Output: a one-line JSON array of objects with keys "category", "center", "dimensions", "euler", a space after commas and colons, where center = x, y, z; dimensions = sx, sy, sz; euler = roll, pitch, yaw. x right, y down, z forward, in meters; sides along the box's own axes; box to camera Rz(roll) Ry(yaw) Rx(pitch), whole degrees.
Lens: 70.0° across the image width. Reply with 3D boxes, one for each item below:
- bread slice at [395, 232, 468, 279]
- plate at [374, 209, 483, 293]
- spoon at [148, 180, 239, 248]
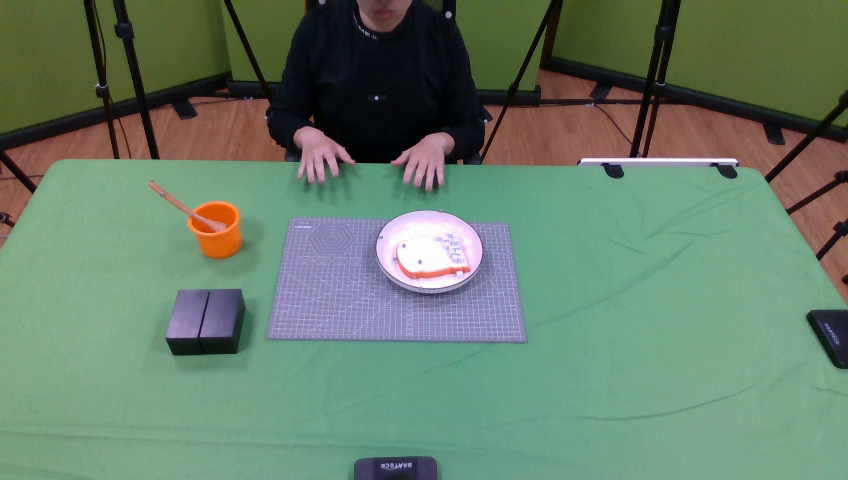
[{"category": "bread slice", "center": [0.011, 0.030, 1.158], "dimensions": [0.132, 0.019, 0.104], "euler": [-8, 47, -14]}, {"category": "plate", "center": [0.009, 0.024, 1.160], "dimensions": [0.209, 0.038, 0.208], "euler": [2, 46, -2]}, {"category": "spoon", "center": [-0.422, -0.047, 1.116], "dimensions": [0.195, 0.021, 0.041], "euler": [36, 42, -26]}]
